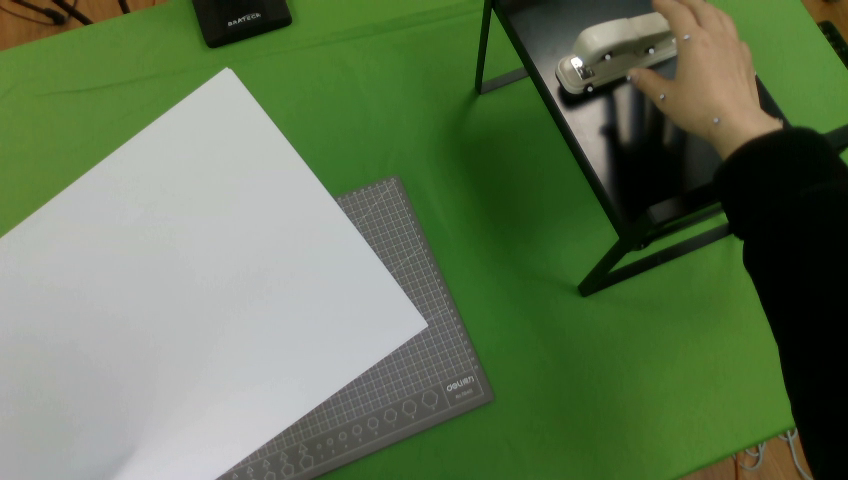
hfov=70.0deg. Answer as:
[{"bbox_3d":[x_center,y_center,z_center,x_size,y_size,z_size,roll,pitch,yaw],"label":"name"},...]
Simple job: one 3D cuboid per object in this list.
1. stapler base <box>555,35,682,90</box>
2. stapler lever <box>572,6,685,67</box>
[{"bbox_3d":[0.194,-0.188,0.595,0.131,0.024,0.041,-22,76,-10],"label":"stapler base"},{"bbox_3d":[0.195,-0.196,0.573,0.118,0.040,0.026,-23,75,-8],"label":"stapler lever"}]
